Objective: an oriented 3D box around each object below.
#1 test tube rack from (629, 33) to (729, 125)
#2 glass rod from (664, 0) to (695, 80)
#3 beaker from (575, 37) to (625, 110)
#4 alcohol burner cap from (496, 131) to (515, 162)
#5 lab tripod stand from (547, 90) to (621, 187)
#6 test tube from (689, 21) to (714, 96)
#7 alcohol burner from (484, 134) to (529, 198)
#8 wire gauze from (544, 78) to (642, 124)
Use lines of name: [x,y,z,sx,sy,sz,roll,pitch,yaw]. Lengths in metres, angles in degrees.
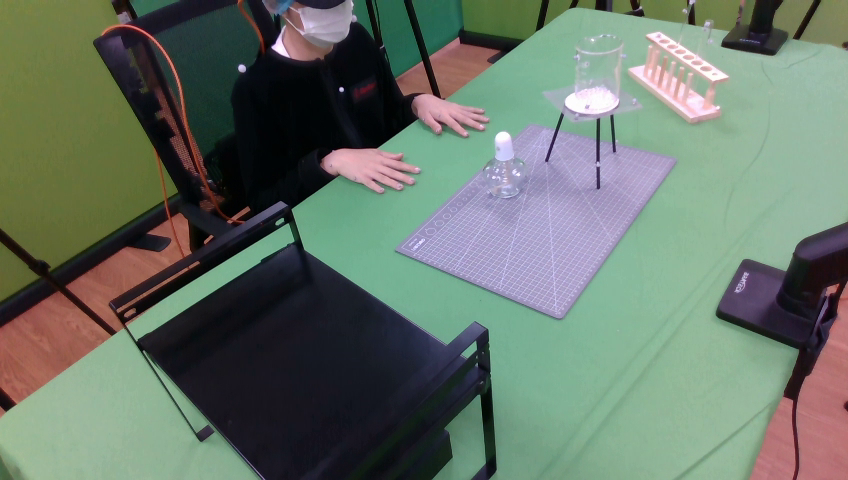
test tube rack: [0.516,-0.337,1.247,0.067,0.085,0.240,-14,41,-7]
glass rod: [0.523,-0.415,1.235,0.008,0.200,0.008,1,46,-1]
beaker: [0.283,-0.271,0.988,0.074,0.101,0.083,-10,39,1]
alcohol burner cap: [0.135,-0.160,1.019,0.034,0.048,0.033,-8,37,7]
lab tripod stand: [0.289,-0.184,1.062,0.148,0.132,0.147,-6,41,6]
test tube: [0.541,-0.353,1.184,0.017,0.151,0.017,-2,40,2]
alcohol burner: [0.141,-0.133,1.041,0.078,0.119,0.077,-5,43,5]
wire gauze: [0.282,-0.234,1.022,0.125,0.011,0.120,-17,38,-4]
